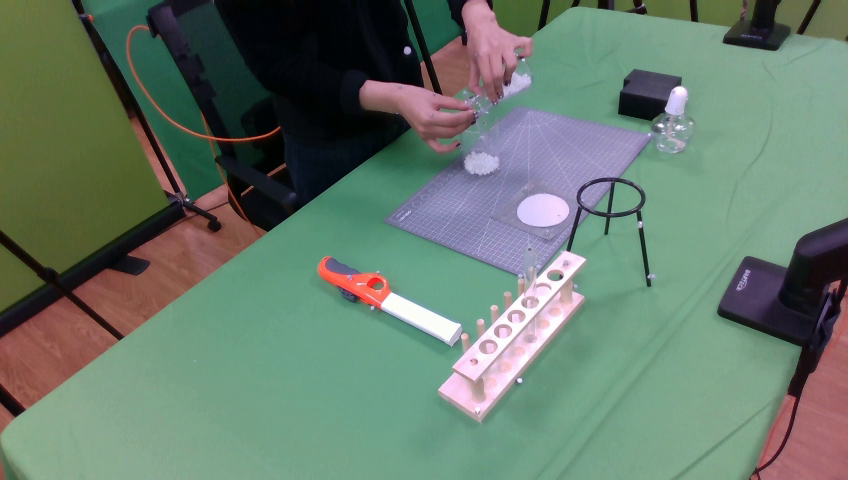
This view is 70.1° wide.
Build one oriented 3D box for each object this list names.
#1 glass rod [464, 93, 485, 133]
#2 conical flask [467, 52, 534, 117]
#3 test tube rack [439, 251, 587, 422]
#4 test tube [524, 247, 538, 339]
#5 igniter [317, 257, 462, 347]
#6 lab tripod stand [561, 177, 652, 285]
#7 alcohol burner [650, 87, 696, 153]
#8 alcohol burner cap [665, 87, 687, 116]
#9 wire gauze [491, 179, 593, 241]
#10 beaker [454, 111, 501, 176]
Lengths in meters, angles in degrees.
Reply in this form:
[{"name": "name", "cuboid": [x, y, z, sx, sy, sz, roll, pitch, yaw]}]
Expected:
[{"name": "glass rod", "cuboid": [0.088, -0.213, 1.030, 0.008, 0.200, 0.008, -2, 82, 14]}, {"name": "conical flask", "cuboid": [0.128, -0.266, 1.056, 0.122, 0.076, 0.074, -44, 50, -19]}, {"name": "test tube rack", "cuboid": [0.118, 0.111, 0.780, 0.066, 0.085, 0.243, 26, 51, 34]}, {"name": "test tube", "cuboid": [0.133, 0.070, 0.749, 0.017, 0.151, 0.017, -5, 38, 4]}, {"name": "igniter", "cuboid": [-0.061, 0.086, 0.890, 0.274, 0.025, 0.057, 23, 59, 33]}, {"name": "lab tripod stand", "cuboid": [0.263, -0.014, 0.864, 0.148, 0.132, 0.147, -7, 38, 6]}, {"name": "alcohol burner", "cuboid": [0.448, -0.217, 1.084, 0.078, 0.119, 0.077, -6, 38, 5]}, {"name": "alcohol burner cap", "cuboid": [0.445, -0.244, 1.060, 0.034, 0.048, 0.033, -2, 45, 3]}, {"name": "wire gauze", "cuboid": [0.198, -0.051, 1.014, 0.125, 0.011, 0.120, -38, 48, -27]}, {"name": "beaker", "cuboid": [0.101, -0.174, 1.106, 0.084, 0.101, 0.073, -5, 40, 6]}]
